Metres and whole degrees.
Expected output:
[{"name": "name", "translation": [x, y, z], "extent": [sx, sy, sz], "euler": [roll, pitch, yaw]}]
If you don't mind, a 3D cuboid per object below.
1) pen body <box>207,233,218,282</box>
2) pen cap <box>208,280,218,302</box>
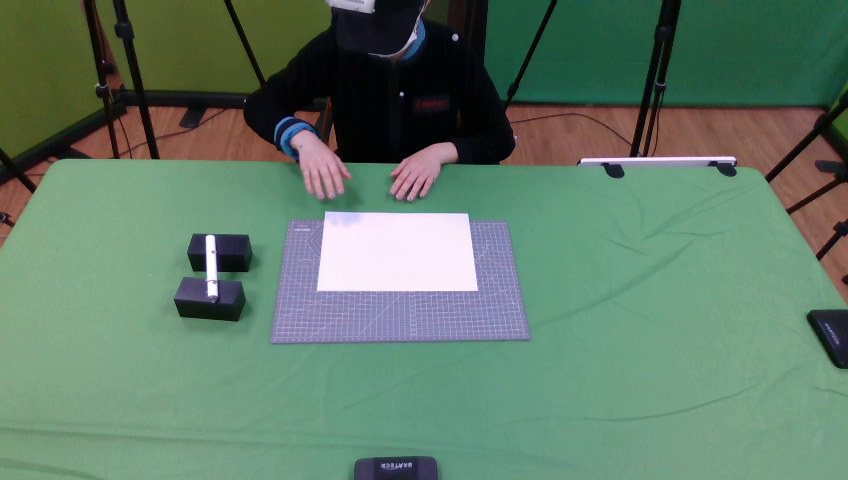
[{"name": "pen body", "translation": [-0.371, 0.042, 1.062], "extent": [0.017, 0.017, 0.143], "euler": [-9, 47, -12]}, {"name": "pen cap", "translation": [-0.356, 0.086, 1.021], "extent": [0.017, 0.017, 0.038], "euler": [-9, 47, -12]}]
